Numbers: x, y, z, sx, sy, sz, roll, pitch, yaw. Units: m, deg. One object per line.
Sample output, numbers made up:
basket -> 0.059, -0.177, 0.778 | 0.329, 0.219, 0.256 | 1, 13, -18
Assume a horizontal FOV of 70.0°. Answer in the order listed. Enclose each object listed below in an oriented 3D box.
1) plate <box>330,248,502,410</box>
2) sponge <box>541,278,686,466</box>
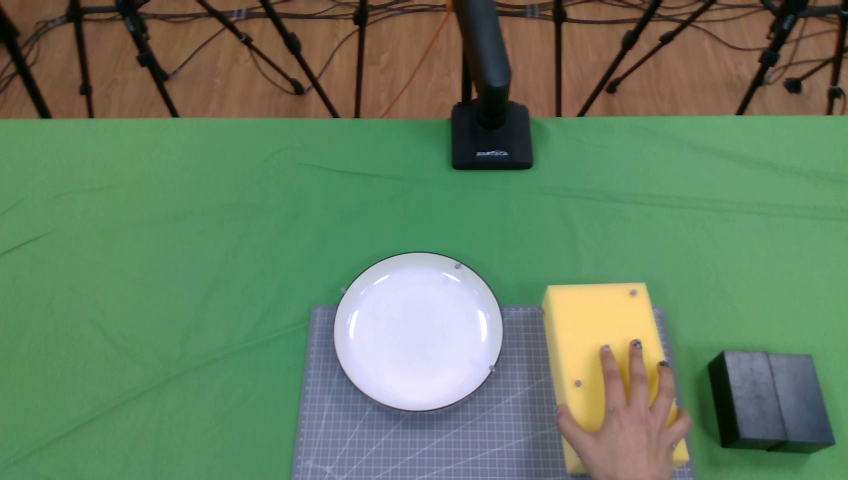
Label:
plate -> -0.009, 0.108, 0.744 | 0.209, 0.038, 0.207 | 0, 61, 1
sponge -> 0.210, 0.149, 0.702 | 0.118, 0.061, 0.205 | -3, 59, -1
